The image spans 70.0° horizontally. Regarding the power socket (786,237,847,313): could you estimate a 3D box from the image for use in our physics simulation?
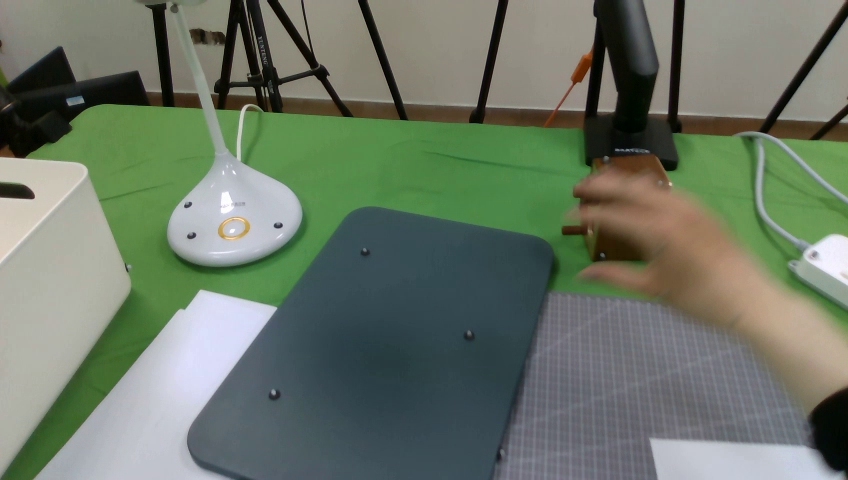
[{"bbox_3d":[0.478,0.071,0.594,0.072,0.033,0.224,-23,44,-23],"label":"power socket"}]

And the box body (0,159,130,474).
[{"bbox_3d":[-0.463,0.094,0.515,0.254,0.162,0.361,4,41,7],"label":"box body"}]

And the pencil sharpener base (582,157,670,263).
[{"bbox_3d":[0.215,-0.031,0.669,0.077,0.108,0.061,-3,41,1],"label":"pencil sharpener base"}]

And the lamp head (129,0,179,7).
[{"bbox_3d":[-0.218,-0.266,0.482,0.112,0.123,0.112,-32,6,4],"label":"lamp head"}]

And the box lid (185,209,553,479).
[{"bbox_3d":[-0.032,0.097,0.605,0.262,0.015,0.369,11,42,17],"label":"box lid"}]

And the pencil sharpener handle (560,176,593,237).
[{"bbox_3d":[0.163,-0.035,0.655,0.030,0.068,0.036,-3,19,1],"label":"pencil sharpener handle"}]

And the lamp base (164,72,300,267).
[{"bbox_3d":[-0.241,-0.089,0.701,0.161,0.182,0.177,-16,40,-15],"label":"lamp base"}]
